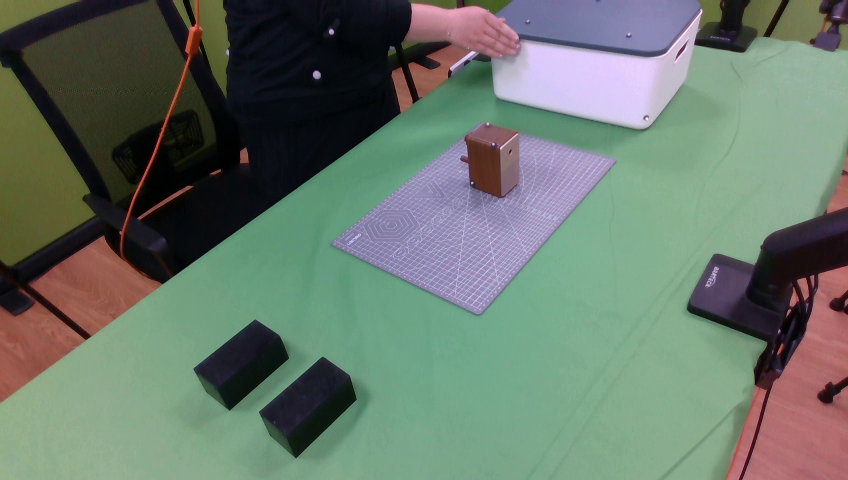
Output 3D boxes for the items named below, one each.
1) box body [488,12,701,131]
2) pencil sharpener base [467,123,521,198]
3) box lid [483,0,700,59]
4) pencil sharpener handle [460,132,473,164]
[{"bbox_3d":[0.345,-0.379,1.257,0.361,0.161,0.255,20,48,29],"label":"box body"},{"bbox_3d":[0.119,-0.138,1.044,0.076,0.107,0.061,23,50,32],"label":"pencil sharpener base"},{"bbox_3d":[0.332,-0.440,1.204,0.369,0.015,0.264,19,48,29],"label":"box lid"},{"bbox_3d":[0.077,-0.163,1.062,0.030,0.068,0.036,23,43,32],"label":"pencil sharpener handle"}]
